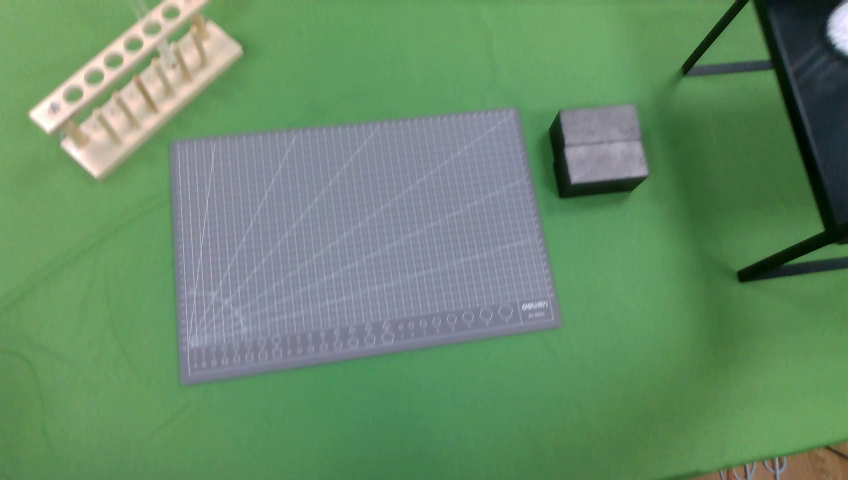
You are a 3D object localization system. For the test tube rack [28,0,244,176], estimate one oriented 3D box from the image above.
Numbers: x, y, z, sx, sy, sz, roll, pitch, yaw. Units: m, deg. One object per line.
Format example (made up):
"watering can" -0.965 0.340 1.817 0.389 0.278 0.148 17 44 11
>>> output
"test tube rack" -0.339 -0.196 0.737 0.066 0.085 0.242 40 74 8

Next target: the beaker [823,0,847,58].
"beaker" 0.478 -0.243 0.631 0.084 0.100 0.073 -12 74 -8

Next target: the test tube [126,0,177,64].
"test tube" -0.322 -0.256 0.704 0.017 0.151 0.017 0 69 1
